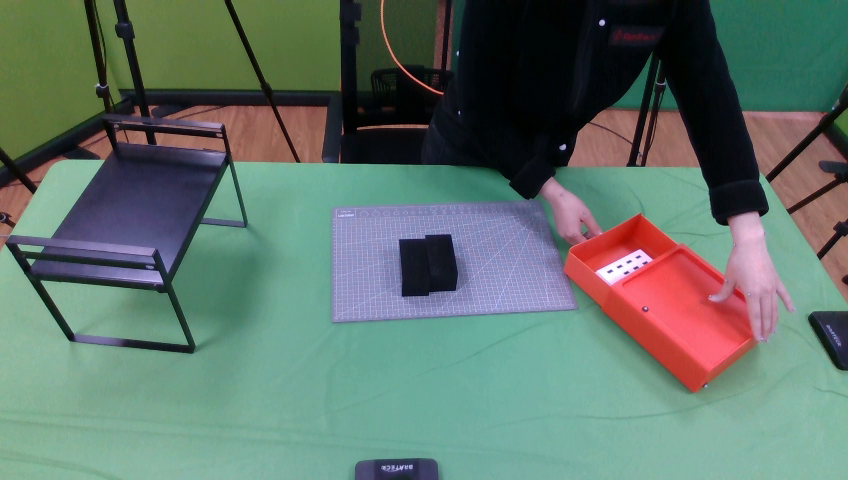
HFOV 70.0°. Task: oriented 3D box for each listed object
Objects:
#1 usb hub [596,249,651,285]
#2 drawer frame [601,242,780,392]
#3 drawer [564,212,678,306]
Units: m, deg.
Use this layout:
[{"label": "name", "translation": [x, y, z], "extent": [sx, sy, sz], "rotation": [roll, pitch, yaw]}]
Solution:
[{"label": "usb hub", "translation": [0.383, 0.061, 1.153], "extent": [0.125, 0.025, 0.049], "rotation": [-23, 54, -23]}, {"label": "drawer frame", "translation": [0.462, 0.125, 1.065], "extent": [0.202, 0.083, 0.212], "rotation": [-26, 54, -26]}, {"label": "drawer", "translation": [0.404, 0.065, 1.123], "extent": [0.194, 0.073, 0.210], "rotation": [-23, 52, -25]}]
